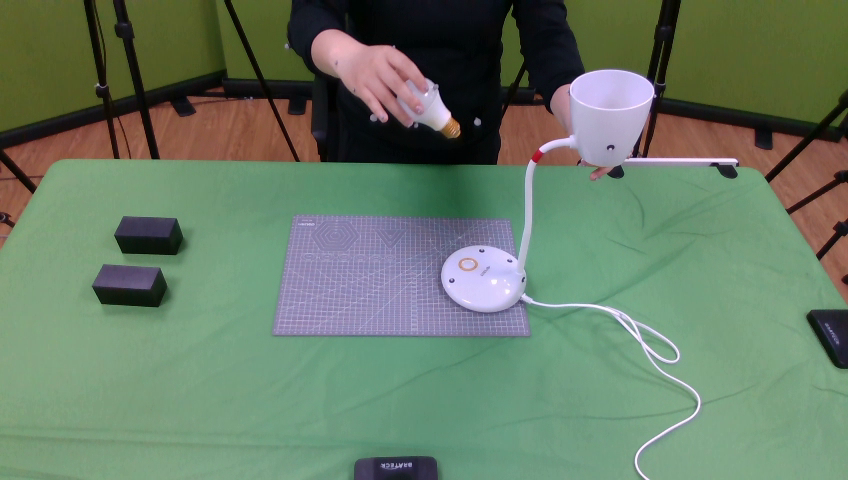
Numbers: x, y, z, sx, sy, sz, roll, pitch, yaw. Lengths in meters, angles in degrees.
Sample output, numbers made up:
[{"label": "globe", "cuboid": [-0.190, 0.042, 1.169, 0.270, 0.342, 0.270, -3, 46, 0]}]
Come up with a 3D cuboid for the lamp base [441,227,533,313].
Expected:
[{"label": "lamp base", "cuboid": [0.126, 0.021, 1.072, 0.179, 0.181, 0.160, 23, 49, 14]}]

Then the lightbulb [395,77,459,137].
[{"label": "lightbulb", "cuboid": [0.008, -0.182, 0.849, 0.108, 0.059, 0.059, 37, 40, -24]}]

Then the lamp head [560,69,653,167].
[{"label": "lamp head", "cuboid": [0.254, -0.165, 0.862, 0.112, 0.123, 0.111, 0, 42, 0]}]
